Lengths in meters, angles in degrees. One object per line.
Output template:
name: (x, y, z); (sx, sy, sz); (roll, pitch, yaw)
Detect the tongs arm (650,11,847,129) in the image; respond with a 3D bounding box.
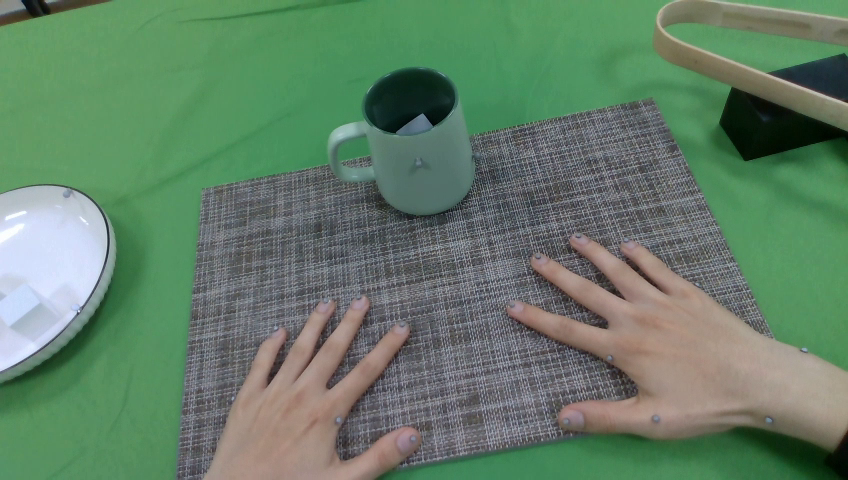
tongs arm: (0.346, -0.097, 0.466); (0.384, 0.028, 0.028); (33, 75, 26)

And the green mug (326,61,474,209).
green mug: (-0.022, -0.084, 0.524); (0.125, 0.106, 0.091); (-12, 57, 1)

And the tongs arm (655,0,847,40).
tongs arm: (0.387, -0.156, 0.495); (0.382, 0.027, 0.050); (21, 66, 21)

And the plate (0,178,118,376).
plate: (-0.375, 0.035, 0.549); (0.209, 0.038, 0.207); (-4, 57, 6)
